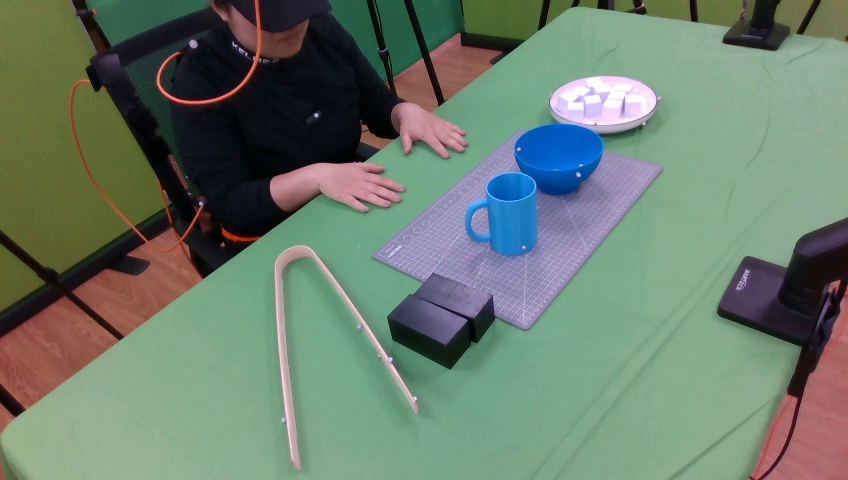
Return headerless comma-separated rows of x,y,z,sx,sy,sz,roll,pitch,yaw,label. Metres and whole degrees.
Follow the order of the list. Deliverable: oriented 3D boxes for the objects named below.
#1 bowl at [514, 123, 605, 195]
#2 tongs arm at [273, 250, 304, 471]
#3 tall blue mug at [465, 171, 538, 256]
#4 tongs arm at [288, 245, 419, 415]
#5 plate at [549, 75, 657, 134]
0.232,-0.131,1.046,0.151,0.077,0.150,-5,40,5,bowl
-0.188,0.145,0.845,0.028,0.028,0.384,-22,41,0,tongs arm
0.125,-0.033,0.925,0.107,0.108,0.077,-32,46,-25,tall blue mug
-0.114,0.113,0.859,0.051,0.027,0.381,-28,43,-12,tongs arm
0.357,-0.269,1.220,0.209,0.038,0.208,-5,41,5,plate
